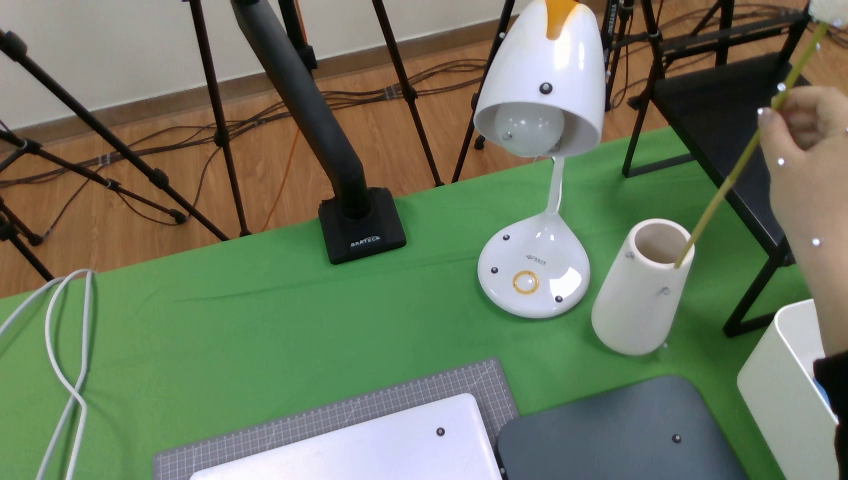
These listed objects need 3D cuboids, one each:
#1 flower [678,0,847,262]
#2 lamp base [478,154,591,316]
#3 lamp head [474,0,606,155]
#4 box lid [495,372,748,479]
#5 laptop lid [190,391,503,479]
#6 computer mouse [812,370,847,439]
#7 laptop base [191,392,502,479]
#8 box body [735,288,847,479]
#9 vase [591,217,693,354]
[{"bbox_3d":[0.260,-0.076,0.483,0.044,0.365,0.038,-27,60,-13],"label":"flower"},{"bbox_3d":[0.156,-0.017,0.811,0.160,0.182,0.178,13,54,14],"label":"lamp base"},{"bbox_3d":[0.110,-0.148,0.538,0.112,0.113,0.122,11,74,12],"label":"lamp head"},{"bbox_3d":[0.252,0.333,0.656,0.263,0.015,0.367,-14,55,-7],"label":"box lid"},{"bbox_3d":[-0.079,0.320,0.671,0.357,0.013,0.239,-13,57,-5],"label":"laptop lid"},{"bbox_3d":[0.488,0.205,0.708,0.062,0.041,0.116,16,54,18],"label":"computer mouse"},{"bbox_3d":[-0.079,0.324,0.682,0.355,0.023,0.233,-14,58,-6],"label":"laptop base"},{"bbox_3d":[0.528,0.233,0.615,0.254,0.162,0.360,-12,54,-4],"label":"box body"},{"bbox_3d":[0.263,0.058,0.737,0.098,0.202,0.097,-3,53,4],"label":"vase"}]
